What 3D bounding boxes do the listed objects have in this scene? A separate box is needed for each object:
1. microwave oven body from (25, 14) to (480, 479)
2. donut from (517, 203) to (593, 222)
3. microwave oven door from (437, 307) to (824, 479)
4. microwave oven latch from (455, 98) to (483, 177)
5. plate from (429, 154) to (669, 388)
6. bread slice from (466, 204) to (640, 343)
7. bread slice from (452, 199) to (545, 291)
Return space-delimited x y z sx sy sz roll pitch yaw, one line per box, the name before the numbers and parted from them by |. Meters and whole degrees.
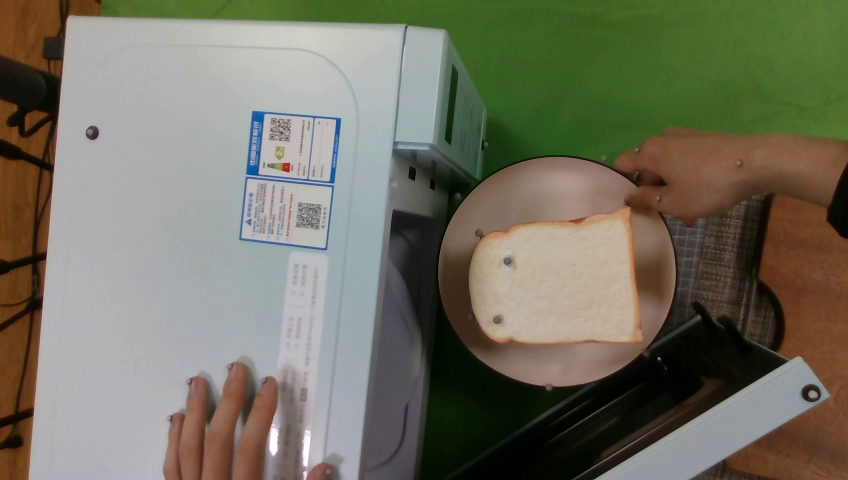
microwave oven body | -0.139 0.055 0.559 0.325 0.261 0.441 6 92 12
donut | 0.117 0.015 0.525 0.099 0.048 0.099 1 112 3
microwave oven door | 0.115 0.182 0.501 0.356 0.244 0.039 -37 82 10
microwave oven latch | 0.044 -0.105 0.617 0.030 0.029 0.079 6 92 12
plate | 0.110 0.028 0.548 0.207 0.039 0.208 1 95 8
bread slice | 0.101 0.034 0.489 0.134 0.018 0.107 -9 95 16
bread slice | 0.091 0.013 0.569 0.132 0.019 0.105 5 103 -3
